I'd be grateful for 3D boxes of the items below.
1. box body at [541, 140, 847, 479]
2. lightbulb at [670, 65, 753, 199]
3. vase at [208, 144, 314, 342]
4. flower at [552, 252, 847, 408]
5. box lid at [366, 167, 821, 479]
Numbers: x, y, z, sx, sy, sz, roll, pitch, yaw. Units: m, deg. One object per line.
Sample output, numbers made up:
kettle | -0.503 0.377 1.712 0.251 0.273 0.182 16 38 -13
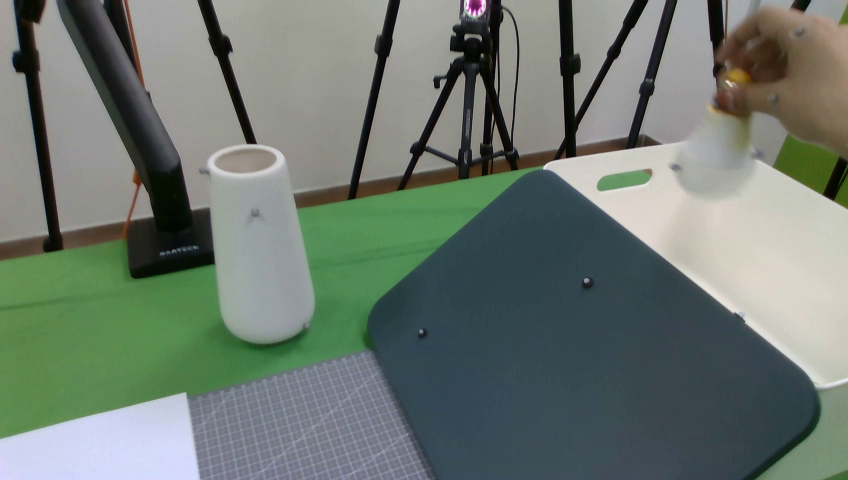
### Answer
box body | 0.300 0.052 0.614 0.255 0.161 0.360 -10 35 -18
lightbulb | 0.227 -0.081 0.468 0.059 0.108 0.059 -1 37 1
vase | -0.168 0.007 0.618 0.098 0.201 0.097 1 33 0
flower | 0.304 0.103 0.659 0.358 0.038 0.044 28 34 27
box lid | 0.097 0.095 0.525 0.263 0.015 0.367 -41 39 4
